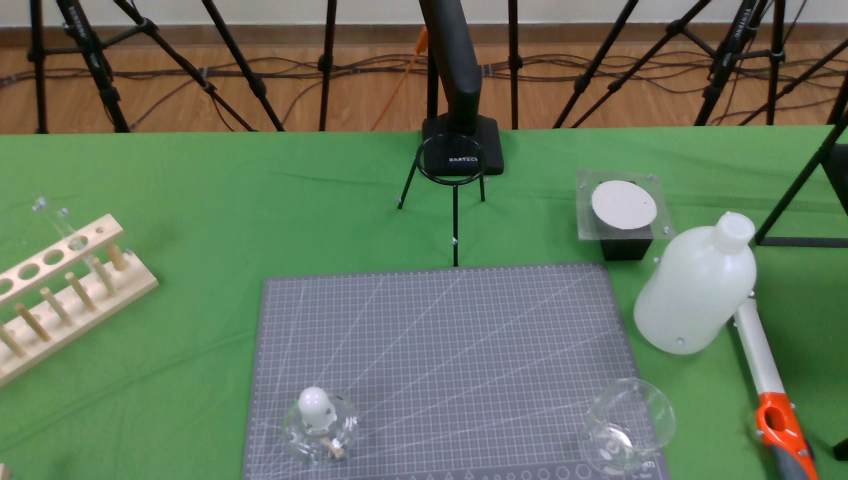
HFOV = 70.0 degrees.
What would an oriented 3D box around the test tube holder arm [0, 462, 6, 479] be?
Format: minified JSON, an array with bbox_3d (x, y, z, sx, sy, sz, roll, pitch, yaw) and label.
[{"bbox_3d":[-0.390,0.285,0.526,0.013,0.015,0.176,-11,59,-1],"label":"test tube holder arm"}]

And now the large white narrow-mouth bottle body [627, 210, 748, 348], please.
[{"bbox_3d":[0.305,0.038,0.688,0.102,0.196,0.101,1,53,-1],"label":"large white narrow-mouth bottle body"}]

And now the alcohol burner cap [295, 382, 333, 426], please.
[{"bbox_3d":[-0.108,0.156,0.584,0.034,0.048,0.033,-2,53,3],"label":"alcohol burner cap"}]

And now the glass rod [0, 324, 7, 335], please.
[{"bbox_3d":[-0.479,0.043,0.635,0.008,0.201,0.008,3,45,-3],"label":"glass rod"}]

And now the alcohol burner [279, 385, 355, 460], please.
[{"bbox_3d":[-0.109,0.177,0.613,0.078,0.120,0.077,2,52,-3],"label":"alcohol burner"}]

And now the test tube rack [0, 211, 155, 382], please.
[{"bbox_3d":[-0.448,0.075,0.695,0.066,0.086,0.242,40,61,24],"label":"test tube rack"}]

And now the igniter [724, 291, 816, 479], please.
[{"bbox_3d":[0.392,0.178,0.692,0.057,0.025,0.274,8,53,-9],"label":"igniter"}]

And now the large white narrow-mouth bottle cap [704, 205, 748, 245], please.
[{"bbox_3d":[0.308,-0.016,0.620,0.038,0.024,0.037,1,53,-1],"label":"large white narrow-mouth bottle cap"}]

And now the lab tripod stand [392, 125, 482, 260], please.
[{"bbox_3d":[0.026,-0.069,0.793,0.148,0.132,0.147,2,54,-3],"label":"lab tripod stand"}]

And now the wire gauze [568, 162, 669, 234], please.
[{"bbox_3d":[0.256,-0.056,0.811,0.121,0.011,0.124,4,53,0],"label":"wire gauze"}]

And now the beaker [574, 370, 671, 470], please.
[{"bbox_3d":[0.197,0.190,0.626,0.084,0.101,0.073,2,53,0],"label":"beaker"}]

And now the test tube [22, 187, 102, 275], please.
[{"bbox_3d":[-0.410,-0.006,0.695,0.017,0.151,0.017,-2,53,2],"label":"test tube"}]
